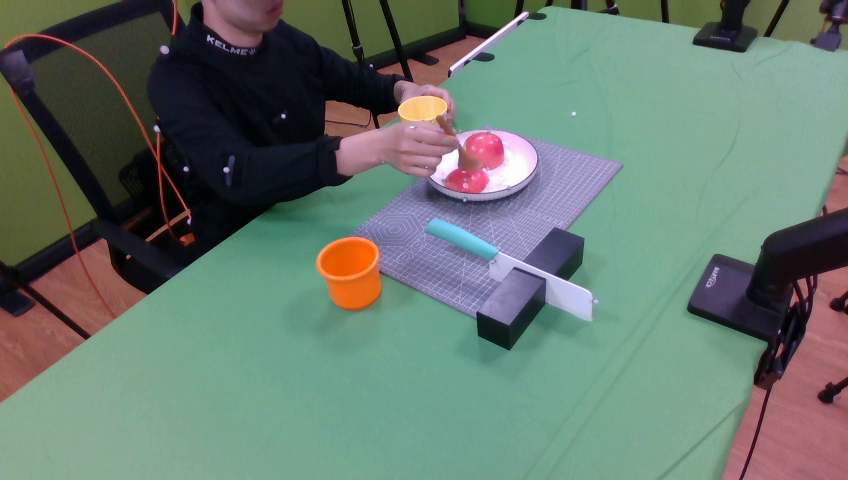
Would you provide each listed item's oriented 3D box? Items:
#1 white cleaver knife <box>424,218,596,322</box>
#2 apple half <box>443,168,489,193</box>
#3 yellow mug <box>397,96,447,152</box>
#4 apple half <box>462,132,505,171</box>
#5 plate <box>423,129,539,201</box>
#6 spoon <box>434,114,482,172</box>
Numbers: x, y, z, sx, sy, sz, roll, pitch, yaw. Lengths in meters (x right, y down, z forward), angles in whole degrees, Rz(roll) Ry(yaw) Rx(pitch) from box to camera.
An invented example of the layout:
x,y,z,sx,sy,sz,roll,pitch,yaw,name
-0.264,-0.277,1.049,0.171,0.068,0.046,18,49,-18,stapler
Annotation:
x,y,z,sx,sy,sz,roll,pitch,yaw,name
0.114,0.042,0.865,0.284,0.066,0.021,27,47,29,white cleaver knife
0.074,-0.112,1.063,0.081,0.033,0.081,-5,39,5,apple half
-0.004,-0.226,1.200,0.099,0.064,0.130,5,43,15,yellow mug
0.109,-0.169,1.110,0.075,0.053,0.080,-6,40,-2,apple half
0.103,-0.132,1.092,0.209,0.038,0.208,-4,40,4,plate
0.050,-0.149,0.950,0.041,0.195,0.021,-12,66,18,spoon
